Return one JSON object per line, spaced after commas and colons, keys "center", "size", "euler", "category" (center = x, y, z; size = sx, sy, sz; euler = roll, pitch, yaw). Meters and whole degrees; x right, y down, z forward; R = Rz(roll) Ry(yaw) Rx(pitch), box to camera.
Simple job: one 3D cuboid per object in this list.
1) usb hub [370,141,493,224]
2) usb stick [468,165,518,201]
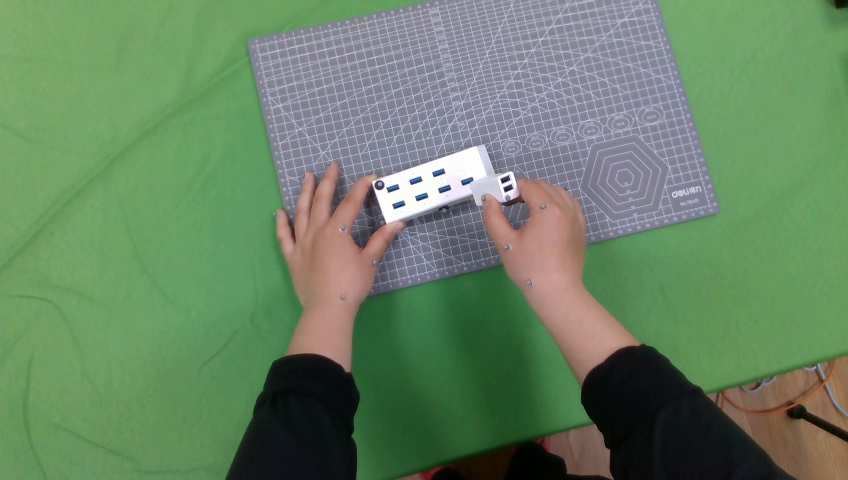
{"center": [0.010, -0.061, 0.631], "size": [0.125, 0.025, 0.049], "euler": [-19, 84, -4], "category": "usb hub"}
{"center": [0.061, -0.053, 0.580], "size": [0.021, 0.059, 0.027], "euler": [-29, 99, -28], "category": "usb stick"}
